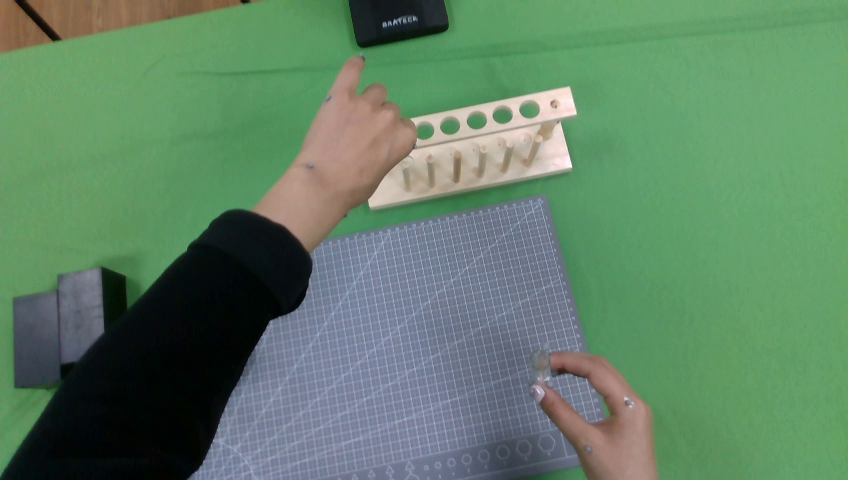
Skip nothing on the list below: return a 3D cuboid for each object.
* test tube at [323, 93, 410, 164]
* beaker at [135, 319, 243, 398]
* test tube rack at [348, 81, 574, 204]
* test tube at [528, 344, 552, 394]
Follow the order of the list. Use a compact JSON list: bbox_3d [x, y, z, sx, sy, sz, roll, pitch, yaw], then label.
[{"bbox_3d":[-0.049,-0.099,0.559,0.017,0.151,0.017,-5,77,22],"label":"test tube"},{"bbox_3d":[-0.236,0.124,0.631,0.084,0.101,0.073,-19,76,-2],"label":"beaker"},{"bbox_3d":[0.044,-0.107,0.684,0.242,0.085,0.066,-11,75,0],"label":"test tube rack"},{"bbox_3d":[0.099,0.112,0.512,0.017,0.152,0.017,-4,67,11],"label":"test tube"}]
